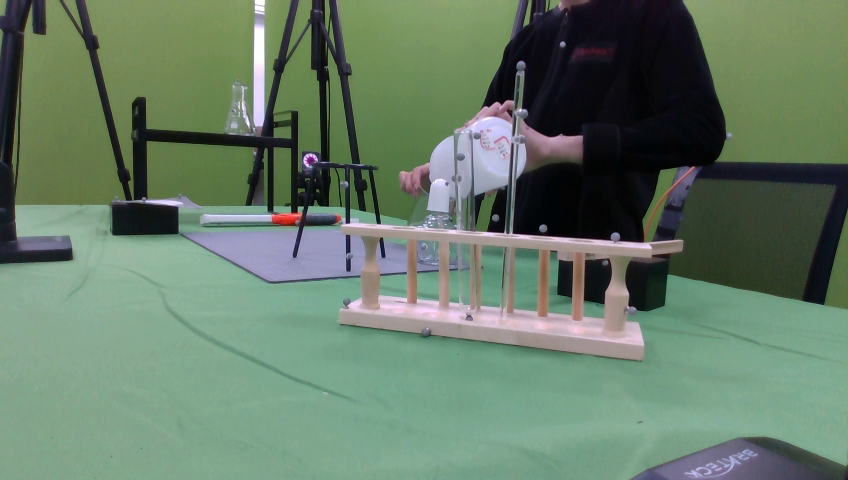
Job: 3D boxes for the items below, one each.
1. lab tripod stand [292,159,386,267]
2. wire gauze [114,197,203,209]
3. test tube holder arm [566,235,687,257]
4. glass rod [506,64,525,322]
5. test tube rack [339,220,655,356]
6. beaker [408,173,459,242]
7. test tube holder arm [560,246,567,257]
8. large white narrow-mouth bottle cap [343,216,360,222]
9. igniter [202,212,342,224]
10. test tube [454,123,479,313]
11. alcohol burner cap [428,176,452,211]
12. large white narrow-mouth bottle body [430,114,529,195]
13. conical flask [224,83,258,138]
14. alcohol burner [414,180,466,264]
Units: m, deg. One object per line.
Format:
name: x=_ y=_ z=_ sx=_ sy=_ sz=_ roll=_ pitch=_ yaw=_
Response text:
lab tripod stand: x=-0.105 y=-0.039 z=0.798 sx=0.148 sy=0.131 sz=0.148 roll=2 pitch=5 yaw=0
wire gauze: x=-0.447 y=-0.062 z=1.015 sx=0.126 sy=0.011 sz=0.121 roll=-2 pitch=8 yaw=-31
test tube holder arm: x=0.215 y=0.006 z=0.630 sx=0.179 sy=0.015 sz=0.013 roll=-3 pitch=9 yaw=-31
glass rod: x=0.069 y=-0.030 z=0.458 sx=0.008 sy=0.199 sz=0.008 roll=0 pitch=15 yaw=0
test tube rack: x=0.056 y=0.032 z=0.495 sx=0.242 sy=0.085 sz=0.067 roll=4 pitch=7 yaw=15
beaker: x=0.016 y=-0.052 z=1.038 sx=0.074 sy=0.100 sz=0.083 roll=6 pitch=35 yaw=-18
test tube holder arm: x=0.173 y=0.007 z=0.611 sx=0.088 sy=0.015 sz=0.010 roll=-3 pitch=9 yaw=-30
large white narrow-mouth bottle cap: x=-0.148 y=-0.036 z=1.234 sx=0.038 sy=0.024 sz=0.037 roll=2 pitch=8 yaw=0
igniter: x=-0.298 y=-0.044 z=1.216 sx=0.278 sy=0.025 sz=0.057 roll=-2 pitch=-2 yaw=-32
test tube: x=0.034 y=-0.016 z=0.477 sx=0.017 sy=0.150 sz=0.017 roll=-2 pitch=9 yaw=1
alcohol burner cap: x=0.023 y=-0.064 z=0.822 sx=0.034 sy=0.048 sz=0.034 roll=7 pitch=4 yaw=0
large white narrow-mouth bottle body: x=0.068 y=-0.122 z=0.934 sx=0.102 sy=0.101 sz=0.194 roll=-2 pitch=-5 yaw=-29
conical flask: x=-0.422 y=-0.299 z=1.395 sx=0.075 sy=0.122 sz=0.075 roll=2 pitch=7 yaw=0
alcohol burner: x=0.021 y=-0.028 z=0.826 sx=0.078 sy=0.119 sz=0.078 roll=0 pitch=6 yaw=0
